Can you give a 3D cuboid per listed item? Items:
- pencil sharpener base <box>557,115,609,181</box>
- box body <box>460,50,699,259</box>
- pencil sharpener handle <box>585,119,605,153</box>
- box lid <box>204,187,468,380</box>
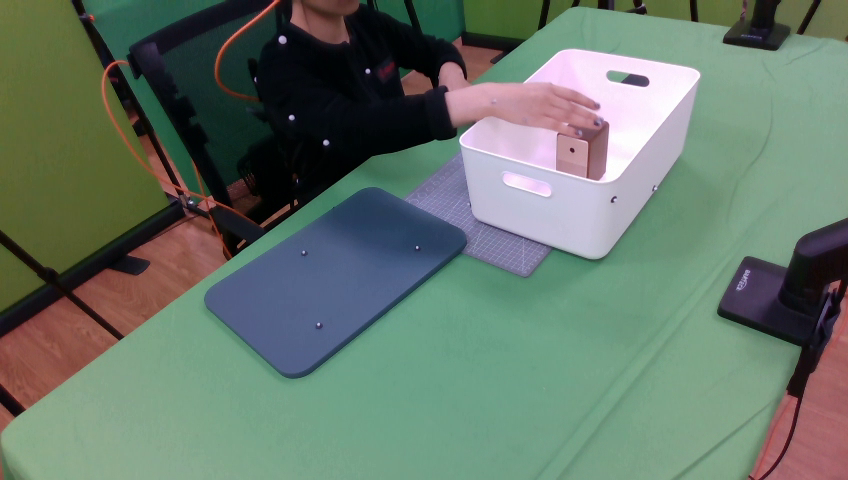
[{"bbox_3d":[0.270,-0.147,1.024,0.061,0.107,0.077,22,49,33],"label":"pencil sharpener base"},{"bbox_3d":[0.261,-0.153,1.001,0.252,0.161,0.365,21,48,31],"label":"box body"},{"bbox_3d":[0.301,-0.184,1.044,0.035,0.068,0.031,20,48,35],"label":"pencil sharpener handle"},{"bbox_3d":[-0.135,0.044,0.963,0.261,0.015,0.373,29,53,36],"label":"box lid"}]
